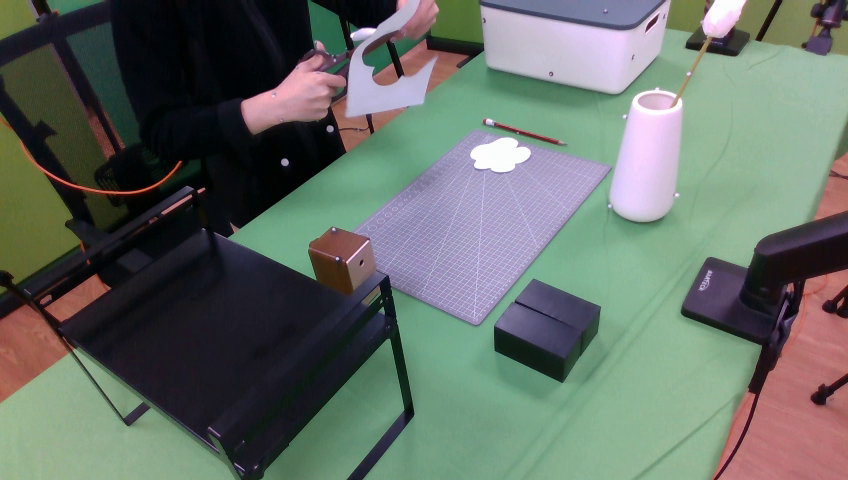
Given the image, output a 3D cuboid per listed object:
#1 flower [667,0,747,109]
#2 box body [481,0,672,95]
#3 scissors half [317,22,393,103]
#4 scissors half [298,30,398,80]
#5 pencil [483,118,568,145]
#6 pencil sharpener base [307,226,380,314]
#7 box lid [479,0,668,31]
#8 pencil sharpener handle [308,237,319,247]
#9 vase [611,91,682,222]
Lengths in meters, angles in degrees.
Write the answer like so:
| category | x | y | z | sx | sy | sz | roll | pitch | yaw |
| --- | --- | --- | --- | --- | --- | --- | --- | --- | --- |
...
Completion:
| category | x | y | z | sx | sy | sz | roll | pitch | yaw |
| --- | --- | --- | --- | --- | --- | --- | --- | --- | --- |
| flower | 0.354 | -0.187 | 0.879 | 0.038 | 0.362 | 0.044 | 30 | 48 | 14 |
| box body | 0.341 | -0.480 | 1.381 | 0.361 | 0.161 | 0.255 | 22 | 48 | 30 |
| scissors half | -0.106 | -0.276 | 0.944 | 0.174 | 0.040 | 0.012 | -41 | 22 | 30 |
| scissors half | -0.120 | -0.291 | 0.934 | 0.174 | 0.040 | 0.013 | -15 | 37 | 16 |
| pencil | 0.202 | -0.217 | 1.212 | 0.192 | 0.012 | 0.012 | 24 | 49 | 29 |
| pencil sharpener base | -0.116 | 0.043 | 0.875 | 0.076 | 0.107 | 0.061 | 18 | 47 | 27 |
| box lid | 0.335 | -0.536 | 1.331 | 0.368 | 0.015 | 0.264 | 23 | 49 | 30 |
| pencil sharpener handle | -0.159 | 0.017 | 0.892 | 0.030 | 0.068 | 0.036 | 18 | 61 | 27 |
| vase | 0.348 | -0.125 | 0.935 | 0.098 | 0.201 | 0.097 | -3 | 40 | 3 |
